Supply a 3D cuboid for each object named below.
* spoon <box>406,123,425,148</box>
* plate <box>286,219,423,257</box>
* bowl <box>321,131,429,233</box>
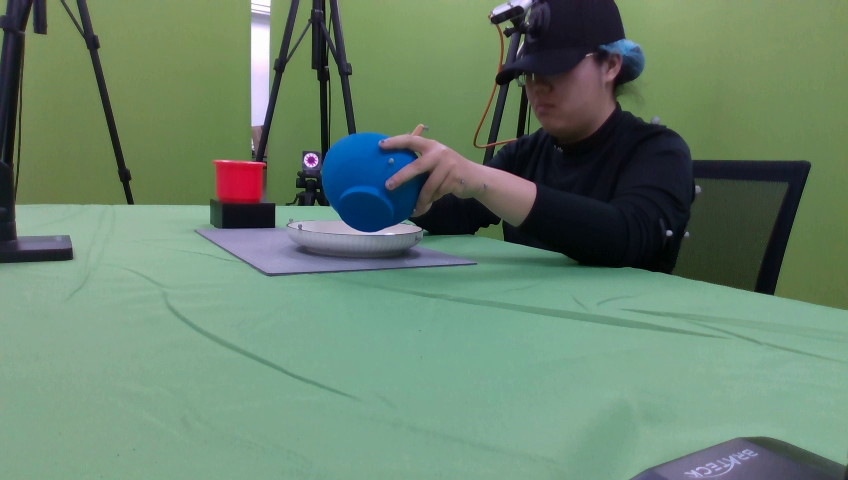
[{"bbox_3d":[-0.047,-0.111,0.901,0.041,0.022,0.194,11,50,30],"label":"spoon"},{"bbox_3d":[-0.105,-0.003,0.922,0.208,0.039,0.207,3,7,0],"label":"plate"},{"bbox_3d":[-0.073,-0.062,0.816,0.151,0.151,0.076,3,45,7],"label":"bowl"}]
